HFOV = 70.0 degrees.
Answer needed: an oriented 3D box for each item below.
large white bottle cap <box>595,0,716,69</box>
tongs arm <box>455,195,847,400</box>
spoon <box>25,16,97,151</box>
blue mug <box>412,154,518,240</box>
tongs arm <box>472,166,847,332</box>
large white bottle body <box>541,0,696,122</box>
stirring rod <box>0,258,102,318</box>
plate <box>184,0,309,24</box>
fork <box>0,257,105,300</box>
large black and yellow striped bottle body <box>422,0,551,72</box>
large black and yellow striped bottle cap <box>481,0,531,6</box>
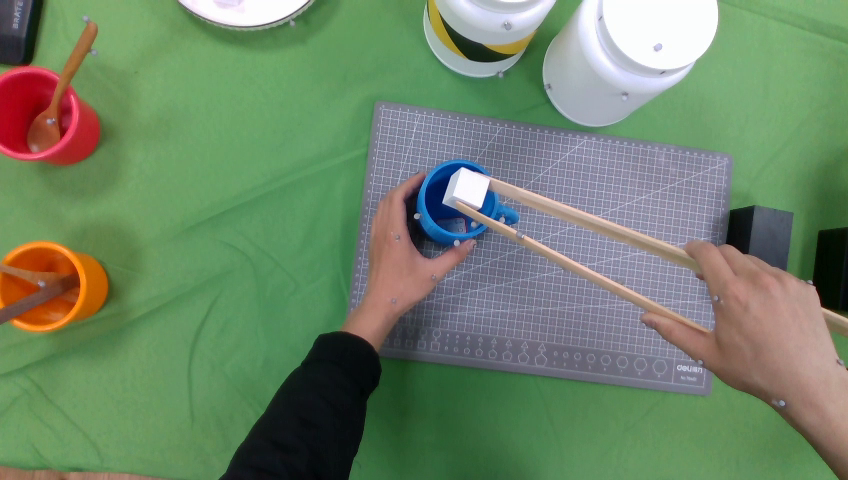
[{"bbox_3d":[0.220,-0.221,0.576,0.115,0.018,0.114,0,87,-6],"label":"large white bottle cap"},{"bbox_3d":[0.196,0.034,0.512,0.382,0.027,0.050,31,76,23],"label":"tongs arm"},{"bbox_3d":[-0.372,-0.156,0.621,0.194,0.021,0.041,-38,87,37],"label":"spoon"},{"bbox_3d":[0.047,-0.041,0.672,0.117,0.106,0.082,13,85,-5],"label":"blue mug"},{"bbox_3d":[0.208,0.014,0.518,0.385,0.028,0.028,26,71,22],"label":"tongs arm"},{"bbox_3d":[0.213,-0.214,0.659,0.131,0.184,0.130,0,86,-6],"label":"large white bottle body"},{"bbox_3d":[-0.407,0.061,0.611,0.014,0.006,0.176,55,42,-4],"label":"stirring rod"},{"bbox_3d":[-0.206,-0.348,0.699,0.208,0.039,0.207,0,88,-5],"label":"plate"},{"bbox_3d":[-0.425,0.021,0.605,0.209,0.018,0.028,31,81,-46],"label":"fork"},{"bbox_3d":[0.069,-0.271,0.648,0.131,0.184,0.130,0,86,-5],"label":"large black and yellow striped bottle body"},{"bbox_3d":[0.076,-0.278,0.566,0.115,0.019,0.115,0,89,-6],"label":"large black and yellow striped bottle cap"}]
